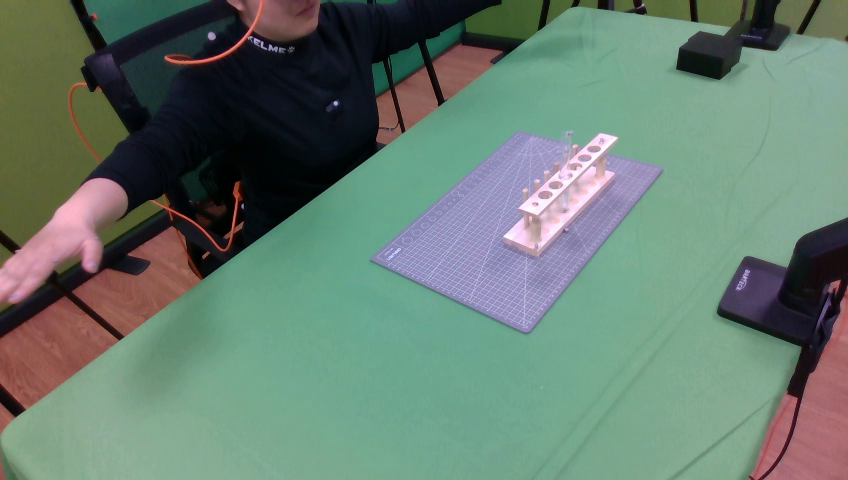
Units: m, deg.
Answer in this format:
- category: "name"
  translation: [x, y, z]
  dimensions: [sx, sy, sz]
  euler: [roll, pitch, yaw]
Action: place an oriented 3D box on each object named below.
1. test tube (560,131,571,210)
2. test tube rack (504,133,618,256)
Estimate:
- category: "test tube"
  translation: [0.218, -0.103, 0.933]
  dimensions: [0.017, 0.151, 0.017]
  euler: [-6, 45, 7]
- category: "test tube rack"
  translation: [0.225, -0.083, 0.984]
  dimensions: [0.066, 0.085, 0.243]
  euler: [25, 50, 34]
